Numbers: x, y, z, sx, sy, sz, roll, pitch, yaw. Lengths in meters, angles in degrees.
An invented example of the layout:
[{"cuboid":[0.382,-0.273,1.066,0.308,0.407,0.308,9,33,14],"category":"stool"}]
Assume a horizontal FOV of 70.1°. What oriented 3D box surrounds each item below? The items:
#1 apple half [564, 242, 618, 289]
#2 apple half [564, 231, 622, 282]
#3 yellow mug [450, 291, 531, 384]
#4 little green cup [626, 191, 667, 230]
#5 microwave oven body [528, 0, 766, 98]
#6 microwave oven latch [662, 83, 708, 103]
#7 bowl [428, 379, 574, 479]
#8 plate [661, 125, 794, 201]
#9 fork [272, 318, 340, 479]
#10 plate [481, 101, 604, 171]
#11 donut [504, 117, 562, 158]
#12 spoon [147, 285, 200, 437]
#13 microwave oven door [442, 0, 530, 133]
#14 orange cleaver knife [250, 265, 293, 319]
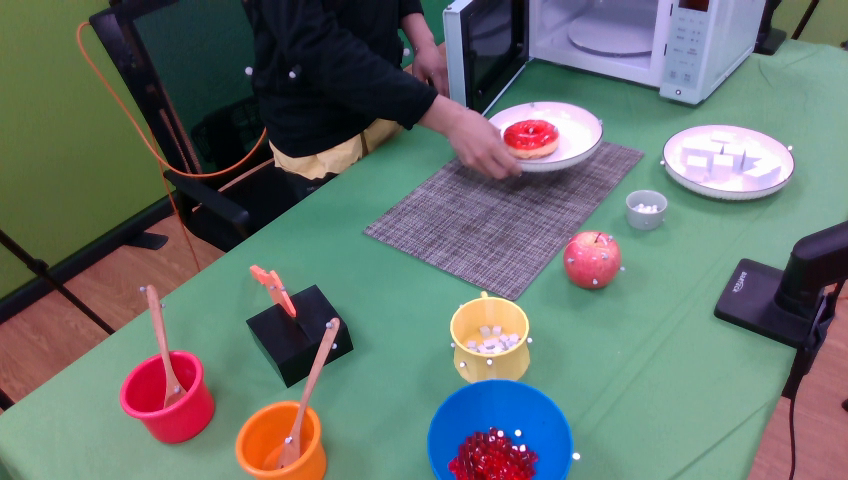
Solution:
[{"cuboid":[0.229,0.044,0.848,0.081,0.081,0.033,16,41,26],"category":"apple half"},{"cuboid":[0.248,0.021,0.874,0.080,0.075,0.053,13,40,28],"category":"apple half"},{"cuboid":[0.085,0.120,0.786,0.100,0.064,0.130,-7,39,1],"category":"yellow mug"},{"cuboid":[0.352,-0.046,0.963,0.061,0.039,0.061,-4,40,4],"category":"little green cup"},{"cuboid":[0.472,-0.513,1.317,0.438,0.261,0.327,25,51,34],"category":"microwave oven body"},{"cuboid":[0.517,-0.296,1.204,0.078,0.029,0.030,27,52,35],"category":"microwave oven latch"},{"cuboid":[0.082,0.233,0.644,0.151,0.077,0.150,-4,39,4],"category":"bowl"},{"cuboid":[0.514,-0.128,1.035,0.207,0.039,0.206,-4,40,4],"category":"plate"},{"cuboid":[-0.131,0.186,0.676,0.028,0.019,0.207,17,90,28],"category":"fork"},{"cuboid":[0.204,-0.177,1.051,0.209,0.038,0.208,-5,40,4],"category":"plate"},{"cuboid":[0.186,-0.177,1.037,0.099,0.048,0.098,-6,38,5],"category":"donut"},{"cuboid":[-0.319,0.148,0.754,0.042,0.021,0.193,-14,85,-11],"category":"spoon"},{"cuboid":[0.139,-0.414,1.243,0.039,0.245,0.356,15,45,24],"category":"microwave oven door"},{"cuboid":[-0.221,0.073,0.876,0.012,0.077,0.210,-23,12,-22],"category":"orange cleaver knife"}]
